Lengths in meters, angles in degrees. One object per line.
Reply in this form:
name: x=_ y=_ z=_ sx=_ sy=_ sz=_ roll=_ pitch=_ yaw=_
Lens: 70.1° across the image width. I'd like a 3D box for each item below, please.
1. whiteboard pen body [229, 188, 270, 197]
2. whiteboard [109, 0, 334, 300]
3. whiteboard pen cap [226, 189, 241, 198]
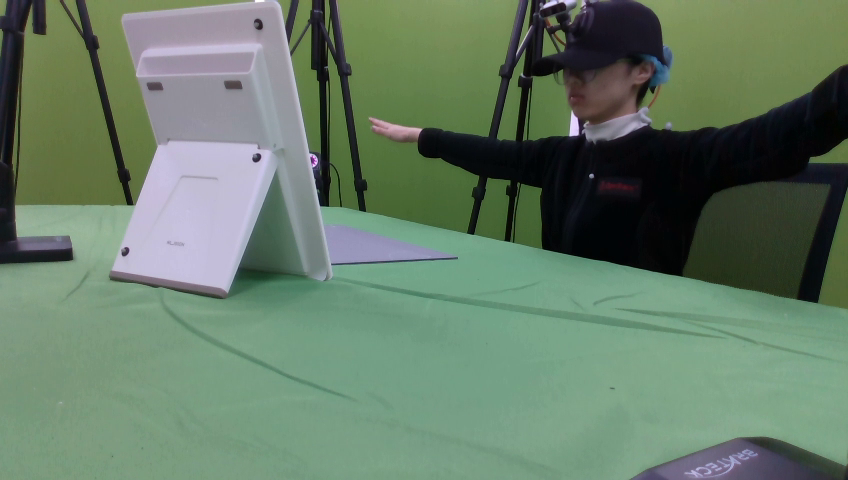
whiteboard pen body: x=-0.378 y=-0.103 z=1.313 sx=0.017 sy=0.017 sz=0.141 roll=4 pitch=8 yaw=18
whiteboard: x=-0.247 y=-0.072 z=0.624 sx=0.216 sy=0.305 sz=0.144 roll=6 pitch=28 yaw=26
whiteboard pen cap: x=-0.396 y=-0.096 z=1.258 sx=0.018 sy=0.018 sz=0.033 roll=4 pitch=5 yaw=17
